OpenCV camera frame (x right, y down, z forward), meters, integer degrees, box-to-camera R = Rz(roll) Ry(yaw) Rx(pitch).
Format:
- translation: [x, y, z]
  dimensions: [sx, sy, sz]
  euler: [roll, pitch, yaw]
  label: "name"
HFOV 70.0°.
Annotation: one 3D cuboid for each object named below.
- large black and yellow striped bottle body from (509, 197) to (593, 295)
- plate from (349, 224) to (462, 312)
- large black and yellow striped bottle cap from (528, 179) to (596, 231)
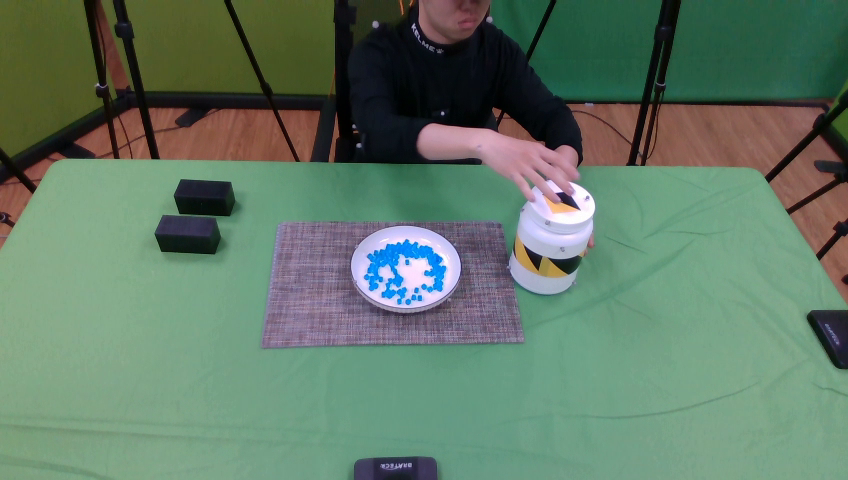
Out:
- translation: [0.231, -0.004, 1.104]
  dimensions: [0.131, 0.185, 0.130]
  euler: [2, 46, -2]
  label: "large black and yellow striped bottle body"
- translation: [-0.035, 0.054, 1.126]
  dimensions: [0.208, 0.039, 0.206]
  euler: [2, 46, -2]
  label: "plate"
- translation: [0.237, -0.062, 1.043]
  dimensions: [0.115, 0.019, 0.114]
  euler: [1, 47, -1]
  label: "large black and yellow striped bottle cap"
